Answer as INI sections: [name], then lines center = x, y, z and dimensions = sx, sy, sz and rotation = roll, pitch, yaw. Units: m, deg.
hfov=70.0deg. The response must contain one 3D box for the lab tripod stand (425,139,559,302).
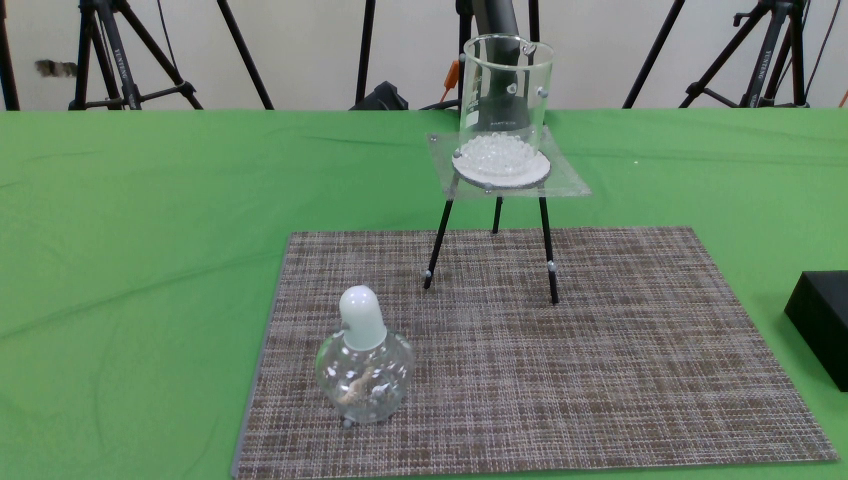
[lab tripod stand]
center = 0.073, -0.018, 0.580
dimensions = 0.148, 0.132, 0.147
rotation = 2, 37, -1

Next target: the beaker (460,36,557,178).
[beaker]
center = 0.069, -0.111, 0.513
dimensions = 0.073, 0.101, 0.084
rotation = 22, 41, 23

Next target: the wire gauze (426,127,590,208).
[wire gauze]
center = 0.070, -0.067, 0.536
dimensions = 0.125, 0.011, 0.120
rotation = -1, 39, -9

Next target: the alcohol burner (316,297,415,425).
[alcohol burner]
center = -0.045, 0.084, 0.459
dimensions = 0.078, 0.120, 0.077
rotation = 2, 39, -1

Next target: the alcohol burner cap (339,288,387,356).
[alcohol burner cap]
center = -0.046, 0.056, 0.437
dimensions = 0.034, 0.048, 0.033
rotation = -4, 36, 3
